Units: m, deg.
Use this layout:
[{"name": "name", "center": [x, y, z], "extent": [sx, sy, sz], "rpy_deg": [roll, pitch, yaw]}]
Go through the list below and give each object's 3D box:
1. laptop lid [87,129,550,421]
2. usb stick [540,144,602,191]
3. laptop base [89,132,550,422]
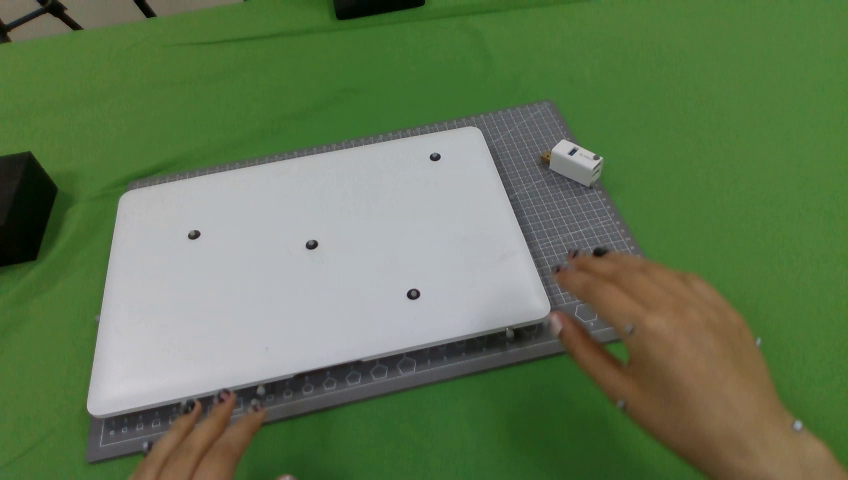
[{"name": "laptop lid", "center": [-0.095, 0.010, 0.518], "extent": [0.357, 0.013, 0.239], "rpy_deg": [-10, 51, -3]}, {"name": "usb stick", "center": [0.137, -0.072, 0.573], "extent": [0.058, 0.027, 0.021], "rpy_deg": [30, 58, 31]}, {"name": "laptop base", "center": [-0.094, 0.016, 0.529], "extent": [0.355, 0.023, 0.233], "rpy_deg": [-11, 52, -4]}]
